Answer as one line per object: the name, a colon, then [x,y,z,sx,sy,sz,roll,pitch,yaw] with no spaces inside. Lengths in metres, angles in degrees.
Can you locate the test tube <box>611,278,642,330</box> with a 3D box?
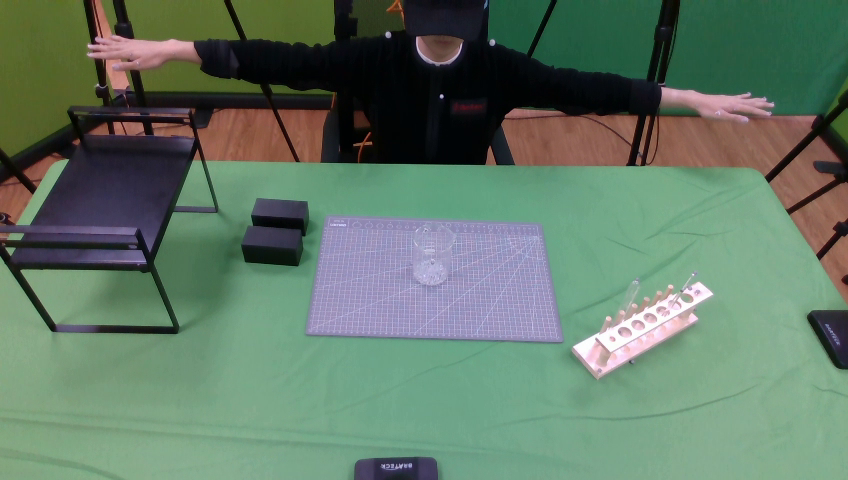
test tube: [0.332,0.113,0.999,0.017,0.151,0.017,1,48,-1]

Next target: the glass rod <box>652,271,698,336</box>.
glass rod: [0.403,0.108,0.979,0.008,0.201,0.008,1,53,-1]

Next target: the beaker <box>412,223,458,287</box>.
beaker: [0.018,0.030,1.109,0.084,0.101,0.073,-10,48,-14]

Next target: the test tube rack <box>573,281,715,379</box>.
test tube rack: [0.378,0.140,1.038,0.242,0.085,0.066,-22,51,-23]
